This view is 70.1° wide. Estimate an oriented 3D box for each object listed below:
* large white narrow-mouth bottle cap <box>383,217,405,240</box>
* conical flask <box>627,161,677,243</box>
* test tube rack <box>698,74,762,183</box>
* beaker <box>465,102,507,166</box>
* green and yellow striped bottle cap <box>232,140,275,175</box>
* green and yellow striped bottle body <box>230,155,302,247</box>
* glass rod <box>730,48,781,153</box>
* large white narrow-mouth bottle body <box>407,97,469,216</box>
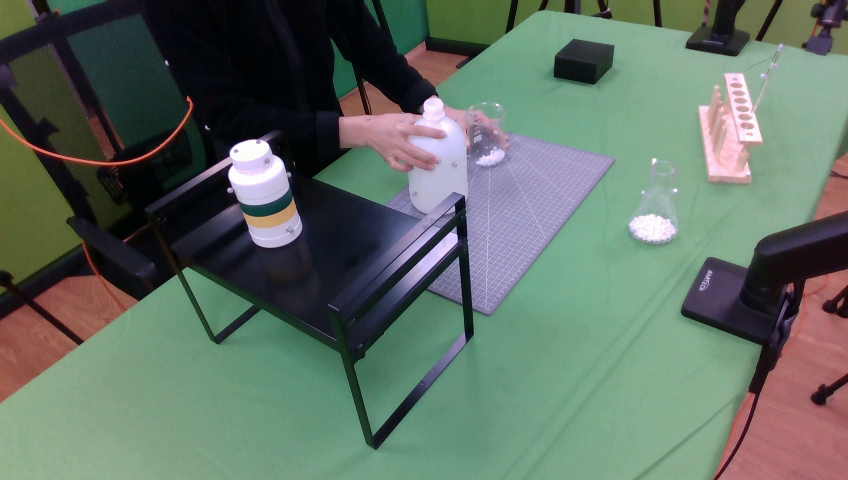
[{"bbox_3d":[-0.051,-0.019,1.004,0.038,0.024,0.037,-4,39,4],"label":"large white narrow-mouth bottle cap"},{"bbox_3d":[0.355,-0.061,0.921,0.075,0.122,0.075,-4,41,4],"label":"conical flask"},{"bbox_3d":[0.547,-0.208,1.095,0.066,0.085,0.242,5,42,15],"label":"test tube rack"},{"bbox_3d":[0.119,-0.196,1.124,0.084,0.101,0.073,-35,49,-27],"label":"beaker"},{"bbox_3d":[-0.192,-0.093,0.680,0.045,0.020,0.045,-5,39,5],"label":"green and yellow striped bottle cap"},{"bbox_3d":[-0.188,-0.055,0.714,0.063,0.120,0.063,-4,41,4],"label":"green and yellow striped bottle body"},{"bbox_3d":[0.554,-0.228,1.015,0.008,0.200,0.008,1,44,-1],"label":"glass rod"},{"bbox_3d":[0.022,-0.142,1.004,0.102,0.195,0.101,-2,39,2],"label":"large white narrow-mouth bottle body"}]
